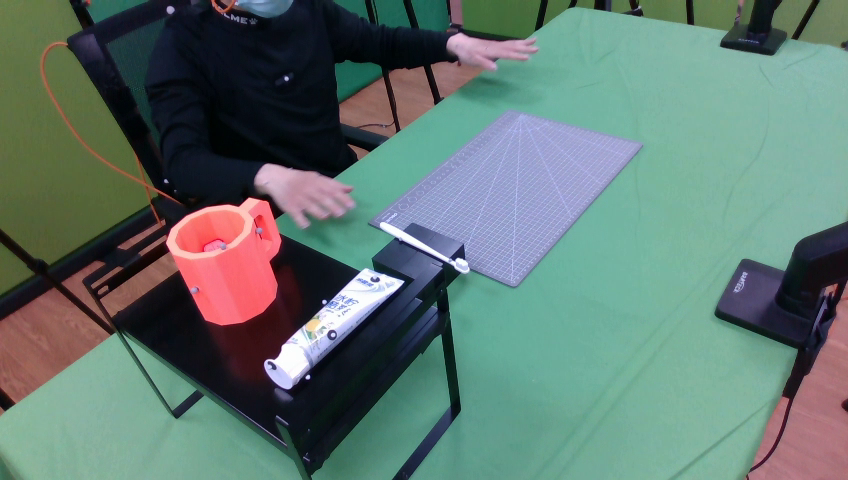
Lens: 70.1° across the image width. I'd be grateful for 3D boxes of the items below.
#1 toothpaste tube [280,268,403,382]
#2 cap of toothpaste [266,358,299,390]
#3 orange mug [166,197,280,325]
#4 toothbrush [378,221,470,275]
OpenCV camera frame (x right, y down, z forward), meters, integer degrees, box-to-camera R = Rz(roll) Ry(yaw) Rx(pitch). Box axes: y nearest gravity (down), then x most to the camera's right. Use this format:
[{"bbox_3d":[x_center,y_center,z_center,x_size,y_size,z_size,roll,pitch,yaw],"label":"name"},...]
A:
[{"bbox_3d":[-0.087,0.081,0.609,0.054,0.034,0.165,21,43,24],"label":"toothpaste tube"},{"bbox_3d":[-0.130,0.122,0.558,0.037,0.037,0.011,18,42,26],"label":"cap of toothpaste"},{"bbox_3d":[-0.203,0.014,0.650,0.083,0.101,0.126,12,48,22],"label":"orange mug"},{"bbox_3d":[-0.004,0.007,0.894,0.180,0.017,0.014,27,54,34],"label":"toothbrush"}]
